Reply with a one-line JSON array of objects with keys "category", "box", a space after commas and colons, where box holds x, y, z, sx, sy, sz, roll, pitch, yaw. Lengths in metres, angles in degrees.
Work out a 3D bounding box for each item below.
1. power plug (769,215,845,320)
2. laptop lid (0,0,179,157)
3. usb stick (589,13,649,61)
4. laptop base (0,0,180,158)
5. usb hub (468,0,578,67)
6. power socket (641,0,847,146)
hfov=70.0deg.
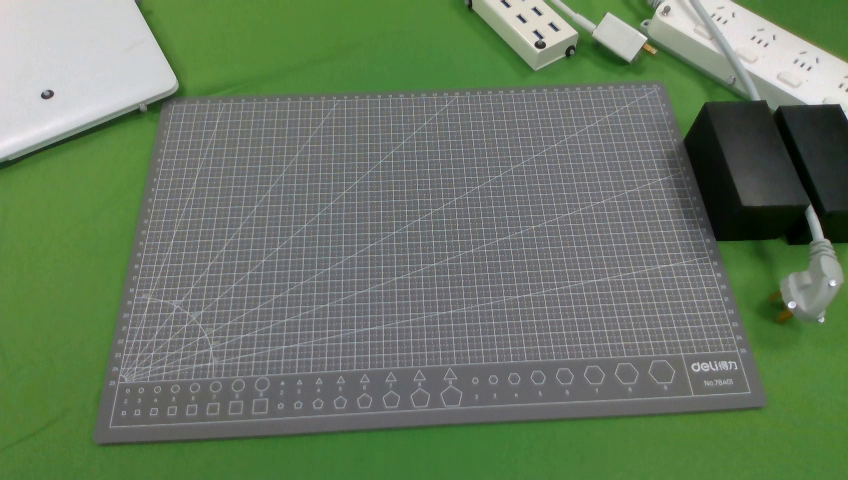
[{"category": "power plug", "box": [0.276, 0.026, 0.437, 0.035, 0.053, 0.072, 36, 51, -4]}, {"category": "laptop lid", "box": [-0.422, -0.148, 0.530, 0.357, 0.013, 0.239, -26, 67, -14]}, {"category": "usb stick", "box": [0.186, -0.186, 0.563, 0.059, 0.027, 0.021, 27, 19, -1]}, {"category": "laptop base", "box": [-0.423, -0.144, 0.541, 0.354, 0.023, 0.233, -28, 68, -15]}, {"category": "usb hub", "box": [0.089, -0.221, 0.583, 0.049, 0.025, 0.124, -30, 65, -16]}, {"category": "power socket", "box": [0.308, -0.166, 0.549, 0.225, 0.033, 0.072, 40, 67, 20]}]
